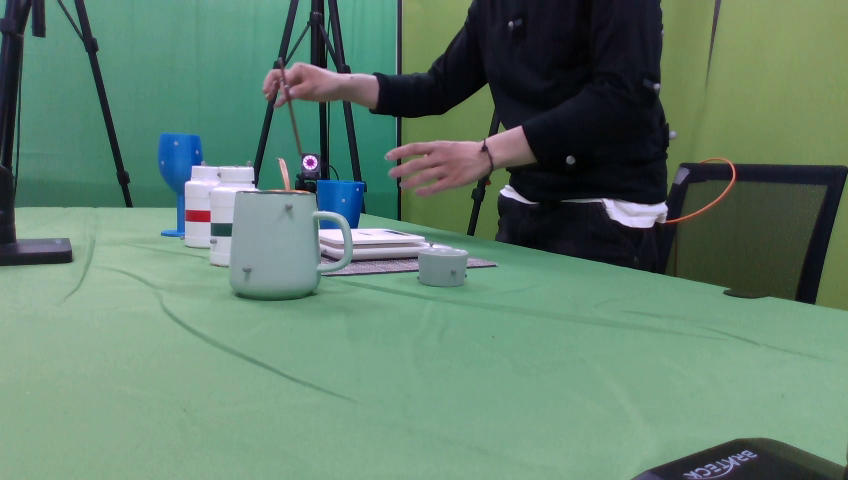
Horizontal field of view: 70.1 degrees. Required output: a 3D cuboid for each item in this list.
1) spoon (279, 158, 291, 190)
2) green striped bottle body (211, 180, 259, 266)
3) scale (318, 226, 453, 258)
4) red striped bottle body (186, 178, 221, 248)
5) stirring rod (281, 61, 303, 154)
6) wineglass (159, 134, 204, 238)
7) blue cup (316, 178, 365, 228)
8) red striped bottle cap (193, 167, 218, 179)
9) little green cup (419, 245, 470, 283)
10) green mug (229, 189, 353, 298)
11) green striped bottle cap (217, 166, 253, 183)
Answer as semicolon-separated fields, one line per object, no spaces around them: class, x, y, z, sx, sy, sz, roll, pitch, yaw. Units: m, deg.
spoon;-0.281;-0.103;1.251;0.042;0.193;0.021;5;-39;-28
green striped bottle body;-0.243;-0.029;0.784;0.063;0.119;0.063;2;7;0
scale;-0.066;0.001;0.906;0.202;0.031;0.148;-2;8;-31
red striped bottle body;-0.331;-0.050;0.927;0.063;0.119;0.063;2;6;0
stirring rod;-0.252;-0.251;1.150;0.006;0.176;0.014;-10;10;1
wineglass;-0.415;-0.093;1.039;0.074;0.172;0.073;2;7;0
blue cup;-0.150;-0.057;1.072;0.093;0.100;0.092;3;8;0
red striped bottle cap;-0.329;-0.102;0.921;0.044;0.017;0.044;0;8;0
little green cup;0.023;0.028;0.712;0.061;0.038;0.061;1;6;0
green mug;-0.135;0.002;0.618;0.125;0.105;0.092;2;7;4
green striped bottle cap;-0.242;-0.085;0.777;0.044;0.020;0.044;2;9;0
